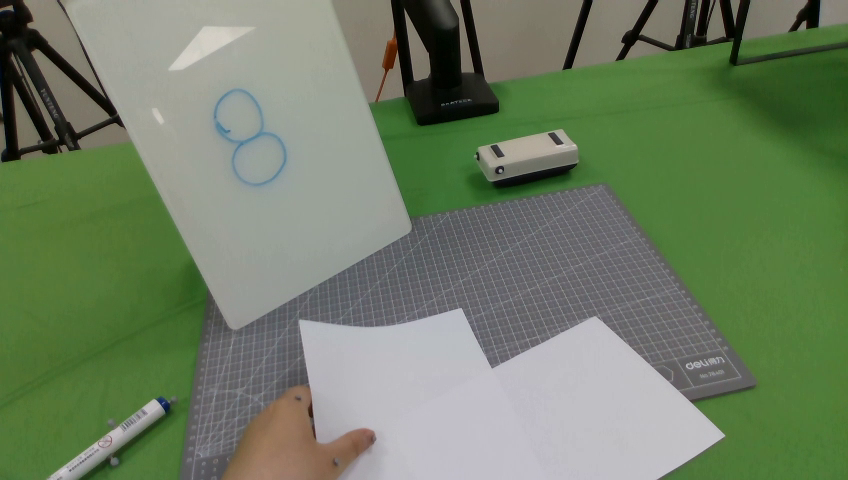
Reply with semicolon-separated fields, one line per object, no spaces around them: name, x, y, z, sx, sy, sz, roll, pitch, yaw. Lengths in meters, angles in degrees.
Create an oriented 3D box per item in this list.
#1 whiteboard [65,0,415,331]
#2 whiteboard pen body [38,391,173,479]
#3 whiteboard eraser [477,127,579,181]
whiteboard;-0.176;-0.107;0.612;0.217;0.307;0.142;-30;24;-25
whiteboard pen body;-0.258;0.166;0.465;0.017;0.017;0.140;25;47;32
whiteboard eraser;0.124;-0.101;0.723;0.113;0.042;0.055;-12;42;-8
